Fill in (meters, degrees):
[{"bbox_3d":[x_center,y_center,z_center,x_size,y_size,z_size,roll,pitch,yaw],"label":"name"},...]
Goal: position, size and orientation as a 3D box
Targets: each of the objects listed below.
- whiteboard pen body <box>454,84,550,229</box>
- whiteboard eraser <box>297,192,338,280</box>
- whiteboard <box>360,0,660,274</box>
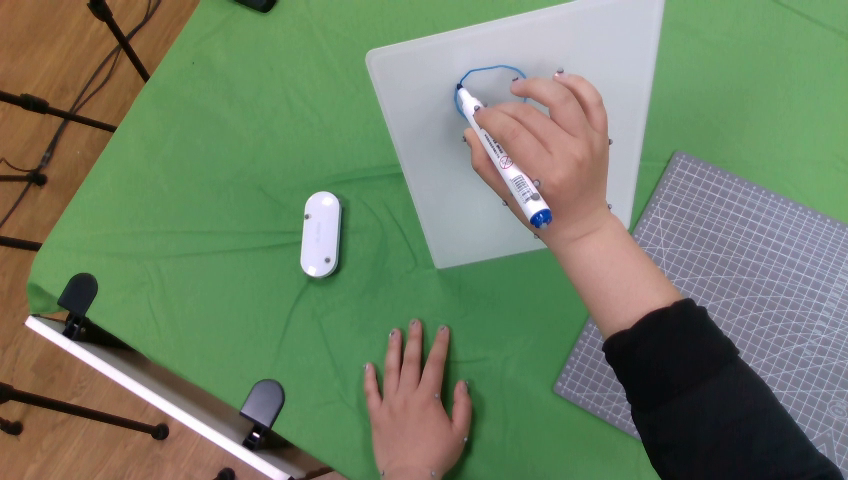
[{"bbox_3d":[0.050,-0.065,0.429,0.017,0.017,0.139,-27,61,1],"label":"whiteboard pen body"},{"bbox_3d":[-0.121,-0.005,0.695,0.041,0.019,0.101,1,77,6],"label":"whiteboard eraser"},{"bbox_3d":[0.080,-0.124,0.584,0.217,0.308,0.142,-12,55,5],"label":"whiteboard"}]
